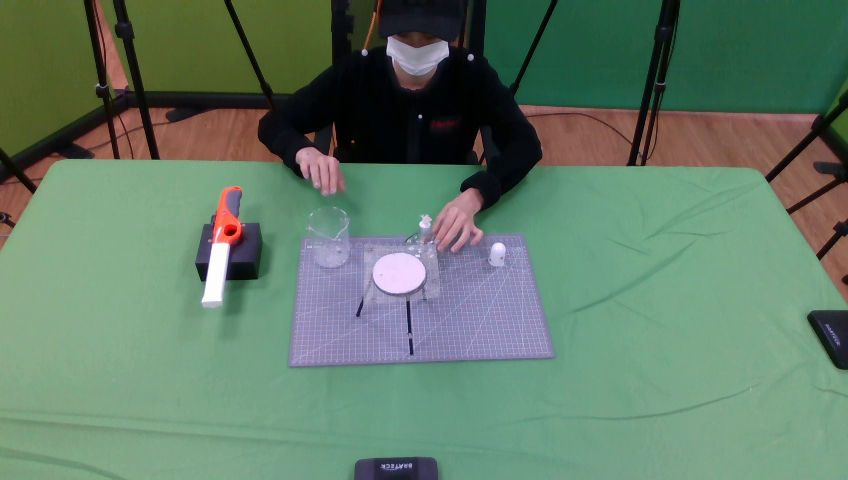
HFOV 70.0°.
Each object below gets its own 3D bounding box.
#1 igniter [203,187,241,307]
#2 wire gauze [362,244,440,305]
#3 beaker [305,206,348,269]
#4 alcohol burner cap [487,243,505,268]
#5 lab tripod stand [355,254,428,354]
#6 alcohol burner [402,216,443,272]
[{"bbox_3d":[-0.365,0.003,1.098,0.057,0.025,0.274,-1,49,-7],"label":"igniter"},{"bbox_3d":[-0.038,0.051,0.971,0.121,0.011,0.124,-1,46,-4],"label":"wire gauze"},{"bbox_3d":[-0.176,0.001,1.126,0.074,0.101,0.083,-14,49,-16],"label":"beaker"},{"bbox_3d":[0.141,0.027,1.166,0.034,0.048,0.033,2,45,-2],"label":"alcohol burner cap"},{"bbox_3d":[-0.046,0.100,1.017,0.148,0.132,0.147,1,47,-1],"label":"lab tripod stand"},{"bbox_3d":[-0.002,0.003,1.128,0.078,0.120,0.077,2,44,-2],"label":"alcohol burner"}]
